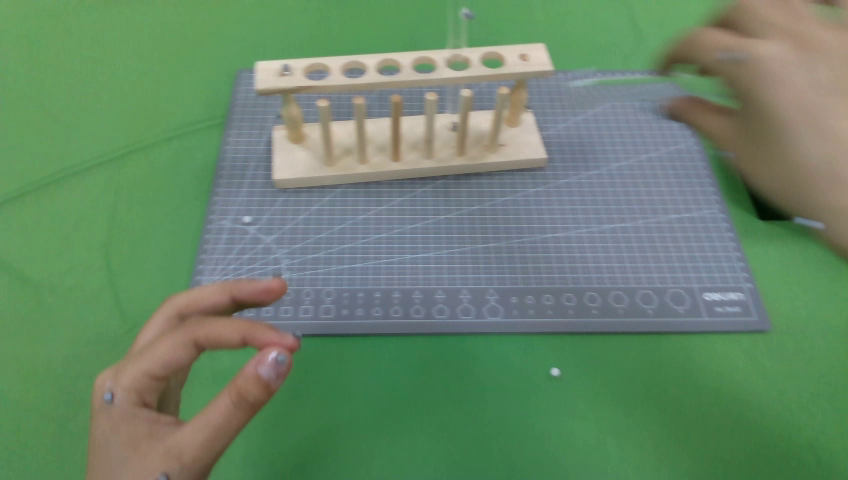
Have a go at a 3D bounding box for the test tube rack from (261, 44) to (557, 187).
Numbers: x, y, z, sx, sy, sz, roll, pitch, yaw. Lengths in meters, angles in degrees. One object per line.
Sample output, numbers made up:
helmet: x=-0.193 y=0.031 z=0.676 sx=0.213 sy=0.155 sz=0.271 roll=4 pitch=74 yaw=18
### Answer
test tube rack: x=-0.010 y=-0.107 z=0.525 sx=0.243 sy=0.086 sz=0.066 roll=-5 pitch=56 yaw=-5

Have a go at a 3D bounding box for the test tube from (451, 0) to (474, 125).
test tube: x=0.032 y=-0.156 z=0.499 sx=0.017 sy=0.151 sz=0.017 roll=0 pitch=51 yaw=1

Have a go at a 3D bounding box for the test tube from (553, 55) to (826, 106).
test tube: x=0.153 y=-0.094 z=0.357 sx=0.150 sy=0.017 sz=0.017 roll=-3 pitch=54 yaw=13
